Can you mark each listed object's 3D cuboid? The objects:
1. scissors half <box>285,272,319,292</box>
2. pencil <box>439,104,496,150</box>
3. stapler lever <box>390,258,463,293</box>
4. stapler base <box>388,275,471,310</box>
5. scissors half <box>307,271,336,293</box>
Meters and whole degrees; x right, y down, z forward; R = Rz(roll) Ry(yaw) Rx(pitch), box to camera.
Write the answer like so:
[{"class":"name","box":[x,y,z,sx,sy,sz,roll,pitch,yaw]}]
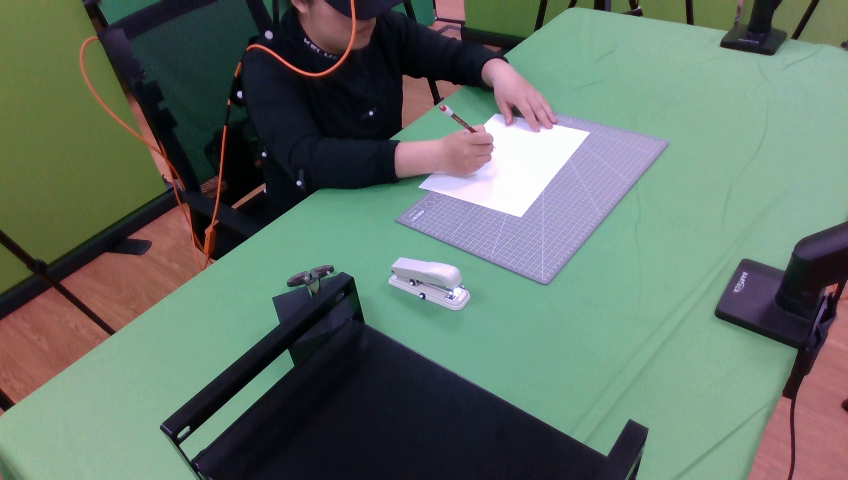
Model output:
[{"class":"scissors half","box":[-0.171,0.063,0.868,0.040,0.013,0.174,-11,7,-21]},{"class":"pencil","box":[0.081,-0.191,1.044,0.012,0.196,0.012,-10,71,32]},{"class":"stapler lever","box":[0.003,0.046,0.881,0.117,0.040,0.027,17,44,29]},{"class":"stapler base","box":[0.007,0.066,0.897,0.129,0.024,0.041,17,44,29]},{"class":"scissors half","box":[-0.151,0.061,0.872,0.040,0.013,0.175,-3,6,-4]}]
